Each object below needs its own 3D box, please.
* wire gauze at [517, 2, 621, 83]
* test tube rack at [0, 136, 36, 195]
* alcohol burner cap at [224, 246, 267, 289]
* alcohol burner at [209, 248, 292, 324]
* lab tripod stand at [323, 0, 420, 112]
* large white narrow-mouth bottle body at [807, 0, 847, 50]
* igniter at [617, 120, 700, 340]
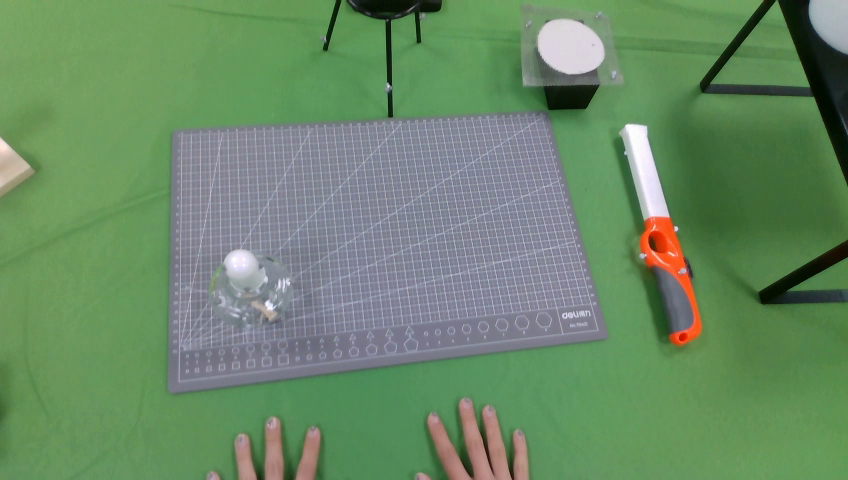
[{"bbox_3d":[0.176,-0.243,0.749,0.122,0.011,0.124,2,66,-6],"label":"wire gauze"},{"bbox_3d":[-0.518,-0.034,0.578,0.066,0.085,0.242,40,67,11],"label":"test tube rack"},{"bbox_3d":[-0.161,0.023,0.540,0.034,0.048,0.033,1,71,-4],"label":"alcohol burner cap"},{"bbox_3d":[-0.165,0.037,0.574,0.078,0.120,0.077,4,64,-7],"label":"alcohol burner"},{"bbox_3d":[-0.050,-0.247,0.707,0.149,0.132,0.147,3,66,-8],"label":"lab tripod stand"},{"bbox_3d":[0.455,-0.270,0.549,0.102,0.196,0.101,3,65,-6],"label":"large white narrow-mouth bottle body"},{"bbox_3d":[0.270,-0.019,0.704,0.057,0.025,0.274,2,66,-18],"label":"igniter"}]
